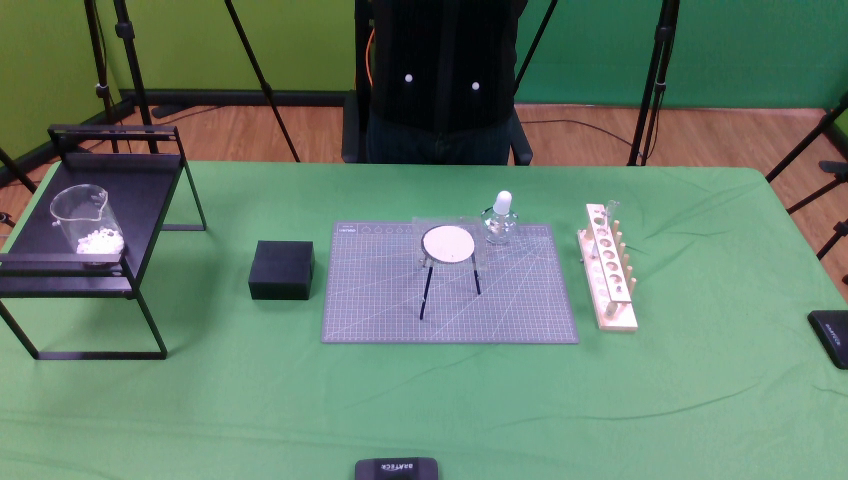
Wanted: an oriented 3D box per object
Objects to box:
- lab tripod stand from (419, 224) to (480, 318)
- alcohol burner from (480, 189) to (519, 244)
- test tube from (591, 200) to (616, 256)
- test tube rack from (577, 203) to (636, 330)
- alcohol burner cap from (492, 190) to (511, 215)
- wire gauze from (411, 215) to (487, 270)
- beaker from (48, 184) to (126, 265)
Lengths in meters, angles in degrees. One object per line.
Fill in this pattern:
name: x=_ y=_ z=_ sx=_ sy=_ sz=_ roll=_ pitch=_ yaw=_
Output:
lab tripod stand: x=0.034 y=0.052 z=1.070 sx=0.148 sy=0.132 sz=0.147 roll=3 pitch=48 yaw=-3
alcohol burner: x=0.150 y=-0.051 z=1.191 sx=0.078 sy=0.120 sz=0.077 roll=1 pitch=47 yaw=-1
test tube: x=0.333 y=-0.019 z=1.130 sx=0.017 sy=0.151 sz=0.017 roll=0 pitch=51 yaw=0
test tube rack: x=0.348 y=0.045 z=1.139 sx=0.067 sy=0.085 sz=0.241 roll=2 pitch=46 yaw=-2
alcohol burner cap: x=0.151 y=-0.076 z=1.165 sx=0.034 sy=0.048 sz=0.033 roll=5 pitch=49 yaw=-6
wire gauze: x=0.041 y=0.002 z=1.026 sx=0.125 sy=0.011 sz=0.120 roll=1 pitch=46 yaw=-3
beaker: x=-0.479 y=-0.018 z=0.875 sx=0.083 sy=0.101 sz=0.074 roll=30 pitch=52 yaw=22
